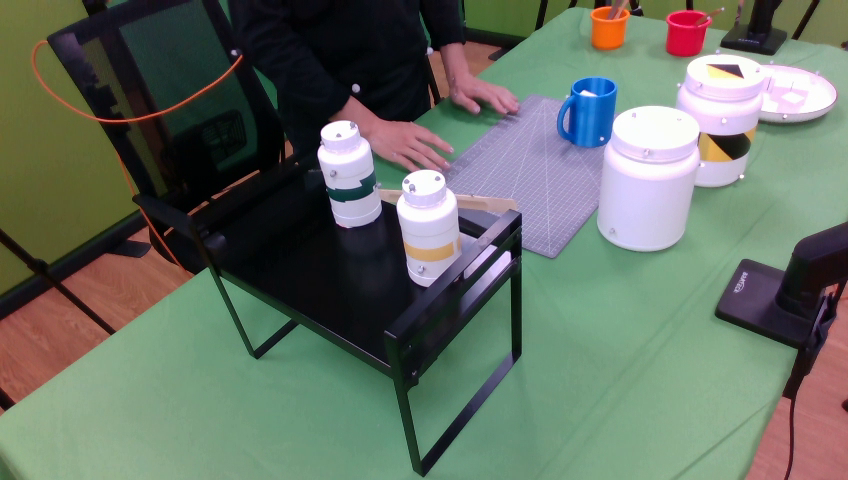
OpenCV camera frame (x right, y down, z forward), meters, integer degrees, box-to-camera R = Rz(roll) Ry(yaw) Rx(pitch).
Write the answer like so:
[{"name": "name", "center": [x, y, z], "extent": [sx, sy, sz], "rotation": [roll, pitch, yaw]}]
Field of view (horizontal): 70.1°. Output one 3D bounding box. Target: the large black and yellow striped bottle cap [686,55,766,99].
[{"name": "large black and yellow striped bottle cap", "center": [0.474, -0.258, 0.952], "extent": [0.115, 0.019, 0.114], "rotation": [-5, 41, 5]}]

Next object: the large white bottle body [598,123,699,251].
[{"name": "large white bottle body", "center": [0.334, -0.090, 0.906], "extent": [0.130, 0.185, 0.130], "rotation": [-5, 41, 5]}]

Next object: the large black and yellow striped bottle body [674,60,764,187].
[{"name": "large black and yellow striped bottle body", "center": [0.482, -0.196, 1.008], "extent": [0.131, 0.185, 0.130], "rotation": [-4, 41, 4]}]

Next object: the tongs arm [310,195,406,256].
[{"name": "tongs arm", "center": [-0.078, -0.012, 0.944], "extent": [0.028, 0.028, 0.384], "rotation": [-42, 39, -22]}]

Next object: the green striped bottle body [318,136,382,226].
[{"name": "green striped bottle body", "center": [-0.090, -0.080, 0.733], "extent": [0.063, 0.120, 0.063], "rotation": [-4, 41, 4]}]

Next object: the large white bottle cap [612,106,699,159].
[{"name": "large white bottle cap", "center": [0.325, -0.153, 0.850], "extent": [0.115, 0.018, 0.114], "rotation": [-4, 41, 4]}]

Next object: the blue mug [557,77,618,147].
[{"name": "blue mug", "center": [0.303, -0.237, 1.139], "extent": [0.117, 0.106, 0.081], "rotation": [-19, 42, -13]}]

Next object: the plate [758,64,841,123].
[{"name": "plate", "center": [0.694, -0.283, 1.189], "extent": [0.207, 0.039, 0.206], "rotation": [-4, 40, 4]}]

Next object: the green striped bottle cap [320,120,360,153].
[{"name": "green striped bottle cap", "center": [-0.097, -0.120, 0.699], "extent": [0.044, 0.020, 0.044], "rotation": [-3, 41, 3]}]

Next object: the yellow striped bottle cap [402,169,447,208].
[{"name": "yellow striped bottle cap", "center": [0.000, -0.052, 0.604], "extent": [0.044, 0.019, 0.044], "rotation": [-5, 43, 5]}]

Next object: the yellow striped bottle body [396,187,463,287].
[{"name": "yellow striped bottle body", "center": [0.006, -0.013, 0.638], "extent": [0.063, 0.121, 0.062], "rotation": [-5, 41, 5]}]

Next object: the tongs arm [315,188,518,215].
[{"name": "tongs arm", "center": [-0.028, -0.060, 0.988], "extent": [0.382, 0.027, 0.051], "rotation": [10, 45, 36]}]

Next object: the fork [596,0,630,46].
[{"name": "fork", "center": [0.480, -0.556, 1.452], "extent": [0.028, 0.019, 0.207], "rotation": [40, 103, 40]}]

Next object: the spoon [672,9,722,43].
[{"name": "spoon", "center": [0.606, -0.476, 1.345], "extent": [0.042, 0.021, 0.193], "rotation": [-6, -3, -2]}]

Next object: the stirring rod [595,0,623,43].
[{"name": "stirring rod", "center": [0.460, -0.556, 1.459], "extent": [0.014, 0.006, 0.176], "rotation": [29, 93, 22]}]
